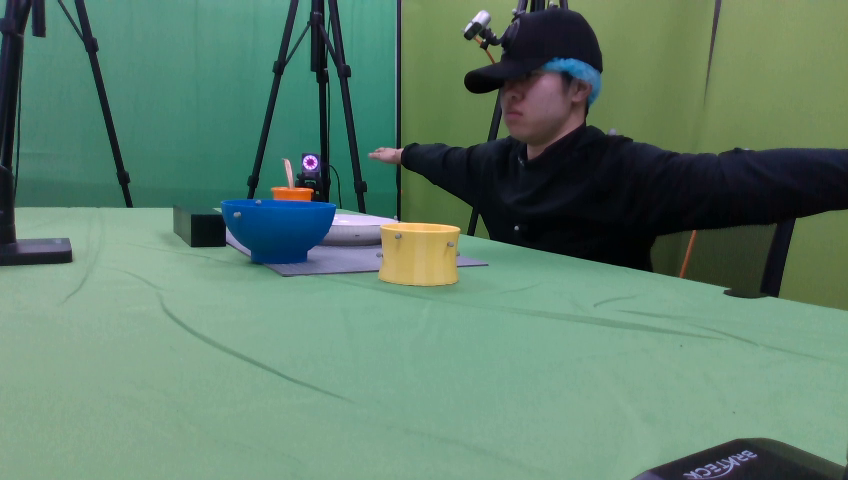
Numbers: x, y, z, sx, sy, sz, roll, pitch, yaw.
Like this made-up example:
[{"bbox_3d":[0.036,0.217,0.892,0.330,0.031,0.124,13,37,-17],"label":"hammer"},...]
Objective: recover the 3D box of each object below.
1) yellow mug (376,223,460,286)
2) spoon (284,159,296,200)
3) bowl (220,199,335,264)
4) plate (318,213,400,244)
[{"bbox_3d":[-0.002,0.014,0.754,0.099,0.064,0.131,5,7,20],"label":"yellow mug"},{"bbox_3d":[-0.302,-0.118,1.370,0.042,0.193,0.021,3,-38,-23],"label":"spoon"},{"bbox_3d":[-0.197,-0.012,0.819,0.151,0.077,0.151,3,8,0],"label":"bowl"},{"bbox_3d":[-0.147,-0.020,1.060,0.209,0.038,0.209,3,7,0],"label":"plate"}]
